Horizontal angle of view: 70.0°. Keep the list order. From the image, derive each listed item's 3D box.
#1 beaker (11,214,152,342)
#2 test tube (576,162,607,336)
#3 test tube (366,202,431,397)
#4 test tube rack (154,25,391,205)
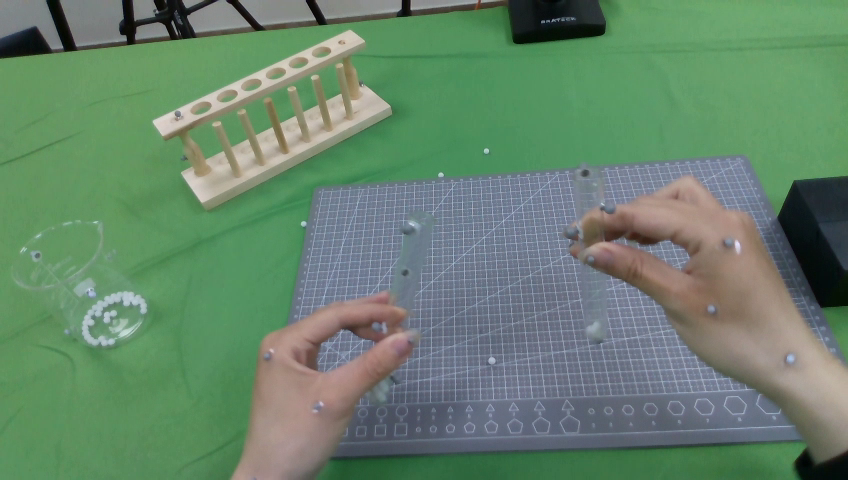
[{"bbox_3d":[-0.294,0.036,0.537,0.073,0.101,0.083,18,54,22],"label":"beaker"},{"bbox_3d":[0.104,0.013,0.373,0.017,0.152,0.017,-8,46,9],"label":"test tube"},{"bbox_3d":[-0.019,0.044,0.388,0.017,0.151,0.017,11,29,-6],"label":"test tube"},{"bbox_3d":[-0.161,-0.143,0.679,0.242,0.086,0.066,-32,53,-18],"label":"test tube rack"}]
